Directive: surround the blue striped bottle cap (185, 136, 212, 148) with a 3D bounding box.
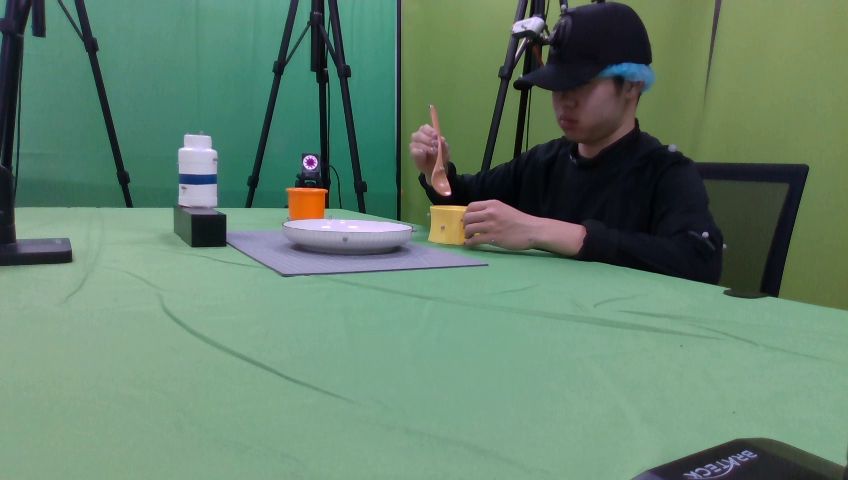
[{"bbox_3d":[-0.390,-0.169,1.047,0.044,0.020,0.044,4,10,0],"label":"blue striped bottle cap"}]

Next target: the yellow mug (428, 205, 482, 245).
[{"bbox_3d":[0.063,-0.028,1.111,0.100,0.064,0.130,-1,8,-21],"label":"yellow mug"}]

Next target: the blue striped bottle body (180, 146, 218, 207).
[{"bbox_3d":[-0.392,-0.119,1.053,0.063,0.120,0.063,2,8,0],"label":"blue striped bottle body"}]

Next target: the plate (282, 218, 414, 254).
[{"bbox_3d":[-0.121,-0.007,0.971,0.208,0.039,0.207,2,7,0],"label":"plate"}]

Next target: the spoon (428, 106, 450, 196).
[{"bbox_3d":[0.026,-0.169,1.133,0.042,0.193,0.021,8,-21,-32],"label":"spoon"}]
